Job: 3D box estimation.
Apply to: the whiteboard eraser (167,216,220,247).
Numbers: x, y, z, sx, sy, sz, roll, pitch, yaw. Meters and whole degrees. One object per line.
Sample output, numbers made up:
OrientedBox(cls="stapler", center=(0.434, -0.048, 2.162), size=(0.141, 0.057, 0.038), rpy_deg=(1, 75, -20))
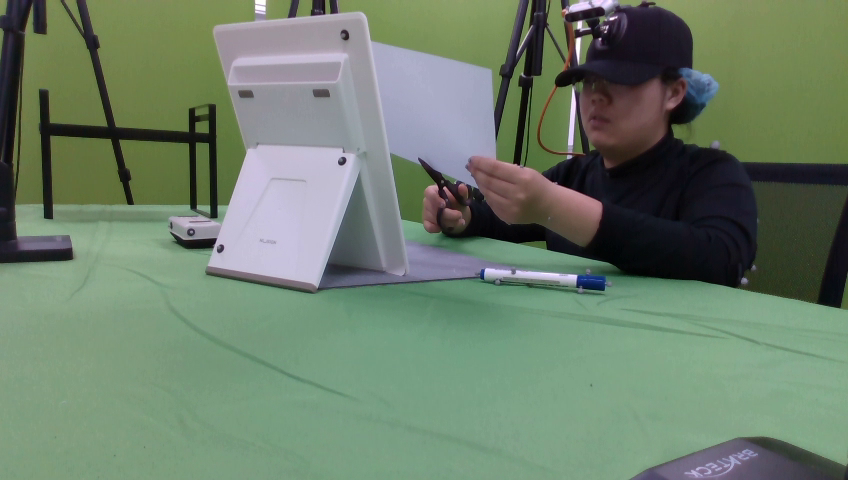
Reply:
OrientedBox(cls="whiteboard eraser", center=(-0.350, -0.013, 0.920), size=(0.056, 0.042, 0.112), rpy_deg=(0, 7, -35))

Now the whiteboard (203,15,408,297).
OrientedBox(cls="whiteboard", center=(-0.166, -0.072, 0.668), size=(0.216, 0.305, 0.144), rpy_deg=(8, 30, 30))

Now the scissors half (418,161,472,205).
OrientedBox(cls="scissors half", center=(0.035, -0.095, 0.971), size=(0.012, 0.040, 0.176), rpy_deg=(28, 3, 33))

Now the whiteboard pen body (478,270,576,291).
OrientedBox(cls="whiteboard pen body", center=(0.131, 0.048, 0.706), size=(0.140, 0.017, 0.017), rpy_deg=(4, 7, 18))

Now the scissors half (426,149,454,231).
OrientedBox(cls="scissors half", center=(0.022, -0.076, 0.966), size=(0.013, 0.175, 0.040), rpy_deg=(23, 56, 32))

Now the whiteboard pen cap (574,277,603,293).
OrientedBox(cls="whiteboard pen cap", center=(0.186, 0.051, 0.687), size=(0.033, 0.018, 0.018), rpy_deg=(5, 8, 17))
